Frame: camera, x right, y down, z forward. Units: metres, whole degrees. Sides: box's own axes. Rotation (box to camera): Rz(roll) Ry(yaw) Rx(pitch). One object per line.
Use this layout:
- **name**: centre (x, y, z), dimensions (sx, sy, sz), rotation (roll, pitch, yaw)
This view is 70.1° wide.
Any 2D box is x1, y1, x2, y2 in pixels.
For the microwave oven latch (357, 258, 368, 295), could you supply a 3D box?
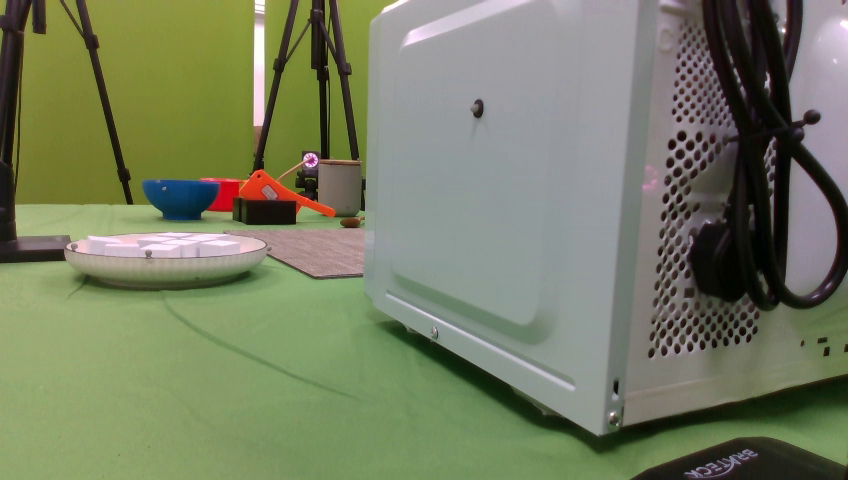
- **microwave oven latch**: centre (-0.019, 0.031, 0.529), dimensions (0.079, 0.029, 0.030), rotation (-1, 7, -27)

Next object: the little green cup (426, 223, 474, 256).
- **little green cup**: centre (0.032, -0.001, 0.763), dimensions (0.061, 0.038, 0.061), rotation (2, 4, 0)

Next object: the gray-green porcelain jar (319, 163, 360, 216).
- **gray-green porcelain jar**: centre (-0.204, -0.126, 1.490), dimensions (0.106, 0.126, 0.106), rotation (2, 8, 0)

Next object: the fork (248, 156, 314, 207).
- **fork**: centre (-0.360, -0.147, 1.523), dimensions (0.207, 0.019, 0.028), rotation (-43, 17, -6)

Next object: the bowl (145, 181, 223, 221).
- **bowl**: centre (-0.499, -0.081, 1.261), dimensions (0.151, 0.077, 0.151), rotation (2, 7, 0)

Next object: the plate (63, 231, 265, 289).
- **plate**: centre (-0.288, 0.021, 0.687), dimensions (0.208, 0.039, 0.207), rotation (2, 8, 0)

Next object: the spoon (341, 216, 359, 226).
- **spoon**: centre (-0.132, -0.048, 1.305), dimensions (0.041, 0.021, 0.194), rotation (-15, 4, 14)

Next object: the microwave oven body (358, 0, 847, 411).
- **microwave oven body**: centre (0.210, -0.051, 0.471), dimensions (0.444, 0.260, 0.324), rotation (-1, 7, -28)

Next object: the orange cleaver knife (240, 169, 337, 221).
- **orange cleaver knife**: centre (-0.286, -0.082, 1.298), dimensions (0.212, 0.077, 0.012), rotation (25, -2, -31)

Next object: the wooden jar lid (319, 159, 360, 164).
- **wooden jar lid**: centre (-0.203, -0.189, 1.482), dimensions (0.108, 0.020, 0.108), rotation (2, 10, 0)

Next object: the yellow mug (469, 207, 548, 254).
- **yellow mug**: centre (0.136, -0.015, 0.950), dimensions (0.131, 0.064, 0.099), rotation (2, 5, -20)

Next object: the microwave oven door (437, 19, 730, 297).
- **microwave oven door**: centre (0.181, -0.076, 0.618), dimensions (0.358, 0.243, 0.039), rotation (-2, 9, -28)
